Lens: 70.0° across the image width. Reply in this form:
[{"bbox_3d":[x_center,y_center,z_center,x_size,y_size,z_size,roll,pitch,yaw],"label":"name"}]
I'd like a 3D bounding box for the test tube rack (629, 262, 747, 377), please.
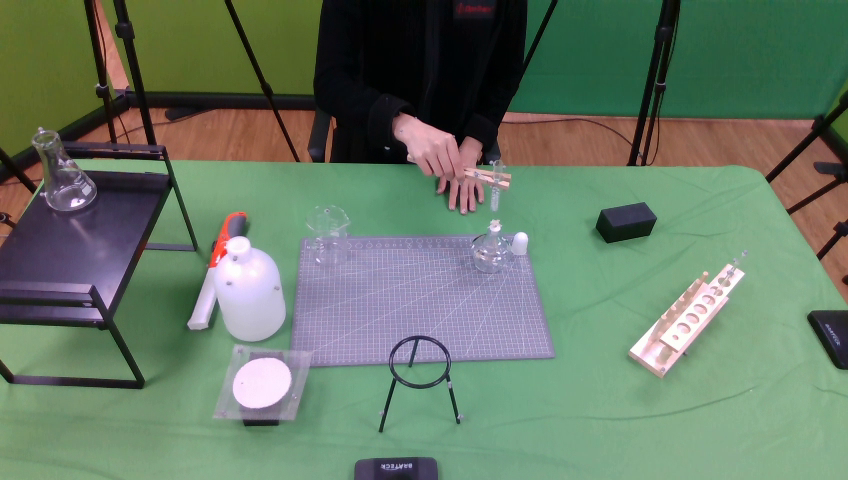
[{"bbox_3d":[0.464,0.126,1.061,0.242,0.085,0.066,-34,56,-30],"label":"test tube rack"}]

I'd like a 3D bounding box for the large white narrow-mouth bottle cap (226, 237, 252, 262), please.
[{"bbox_3d":[-0.282,0.014,0.923,0.038,0.024,0.037,2,46,-2],"label":"large white narrow-mouth bottle cap"}]

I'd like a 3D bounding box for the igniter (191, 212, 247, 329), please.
[{"bbox_3d":[-0.376,0.047,1.121,0.057,0.025,0.275,-4,46,6],"label":"igniter"}]

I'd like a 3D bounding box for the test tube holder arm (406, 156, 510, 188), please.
[{"bbox_3d":[0.055,-0.114,1.008,0.178,0.015,0.013,14,60,9],"label":"test tube holder arm"}]

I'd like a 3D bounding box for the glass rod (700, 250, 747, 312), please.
[{"bbox_3d":[0.500,0.075,1.021,0.008,0.201,0.008,0,54,1],"label":"glass rod"}]

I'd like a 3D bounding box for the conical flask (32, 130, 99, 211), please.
[{"bbox_3d":[-0.565,-0.111,0.944,0.075,0.122,0.075,2,46,-2],"label":"conical flask"}]

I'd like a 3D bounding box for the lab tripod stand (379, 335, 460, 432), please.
[{"bbox_3d":[-0.011,0.214,0.911,0.148,0.132,0.147,1,45,0],"label":"lab tripod stand"}]

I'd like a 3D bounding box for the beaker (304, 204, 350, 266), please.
[{"bbox_3d":[-0.178,-0.006,1.132,0.084,0.101,0.073,4,46,-1],"label":"beaker"}]

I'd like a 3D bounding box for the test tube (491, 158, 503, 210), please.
[{"bbox_3d":[0.123,-0.090,1.022,0.017,0.151,0.017,-2,64,4],"label":"test tube"}]

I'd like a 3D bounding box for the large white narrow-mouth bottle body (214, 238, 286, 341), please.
[{"bbox_3d":[-0.285,0.073,0.986,0.102,0.195,0.101,2,46,-2],"label":"large white narrow-mouth bottle body"}]

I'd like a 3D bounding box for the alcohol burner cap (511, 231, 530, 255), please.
[{"bbox_3d":[0.191,0.003,1.187,0.034,0.048,0.033,3,44,-3],"label":"alcohol burner cap"}]

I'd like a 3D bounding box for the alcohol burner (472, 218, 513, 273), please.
[{"bbox_3d":[0.128,0.005,1.132,0.078,0.120,0.077,0,47,0],"label":"alcohol burner"}]

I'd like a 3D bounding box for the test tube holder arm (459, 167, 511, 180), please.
[{"bbox_3d":[0.100,-0.110,1.004,0.088,0.015,0.010,7,60,6],"label":"test tube holder arm"}]

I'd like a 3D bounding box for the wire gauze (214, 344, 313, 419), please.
[{"bbox_3d":[-0.241,0.213,0.915,0.121,0.011,0.124,5,46,1],"label":"wire gauze"}]
